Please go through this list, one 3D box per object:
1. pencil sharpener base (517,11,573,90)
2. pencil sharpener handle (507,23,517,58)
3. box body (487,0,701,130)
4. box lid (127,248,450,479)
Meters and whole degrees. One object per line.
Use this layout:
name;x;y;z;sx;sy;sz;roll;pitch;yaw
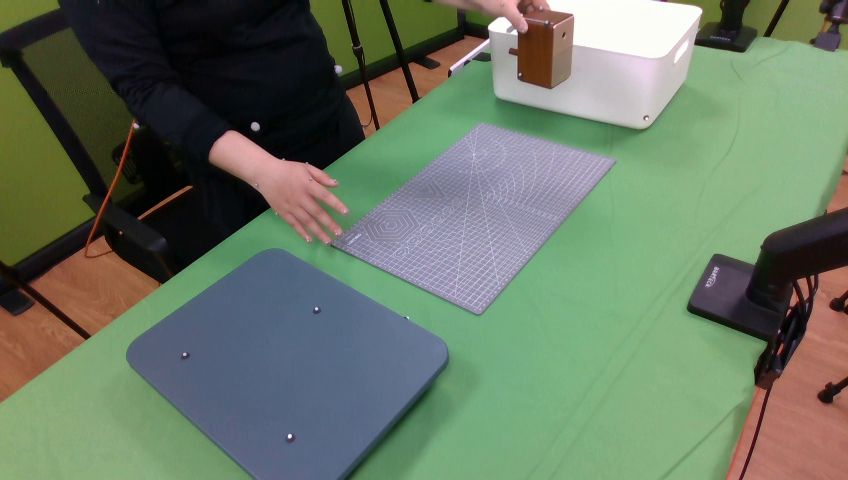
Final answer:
pencil sharpener base;0.194;-0.311;0.990;0.076;0.107;0.061;26;49;36
pencil sharpener handle;0.155;-0.338;1.011;0.030;0.068;0.036;26;43;36
box body;0.345;-0.379;1.257;0.361;0.161;0.255;20;48;29
box lid;-0.177;0.145;0.768;0.368;0.015;0.264;24;50;32
